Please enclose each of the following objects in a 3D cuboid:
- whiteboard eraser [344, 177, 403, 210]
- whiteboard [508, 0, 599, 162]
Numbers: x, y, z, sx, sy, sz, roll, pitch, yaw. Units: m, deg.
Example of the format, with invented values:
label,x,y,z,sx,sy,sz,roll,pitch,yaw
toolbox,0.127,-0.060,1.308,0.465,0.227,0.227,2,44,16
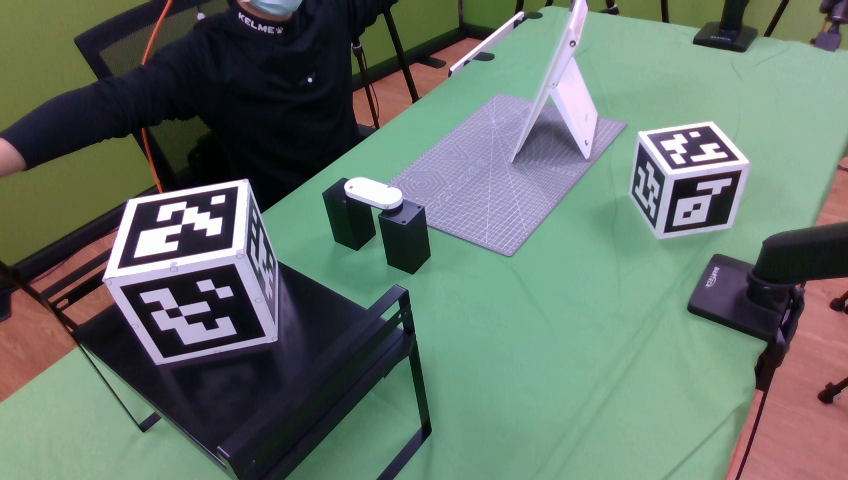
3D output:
label,x,y,z,sx,sy,sz,roll,pitch,yaw
whiteboard eraser,-0.077,-0.071,0.911,0.100,0.019,0.041,20,50,29
whiteboard,0.285,-0.289,1.090,0.144,0.305,0.217,22,45,3
